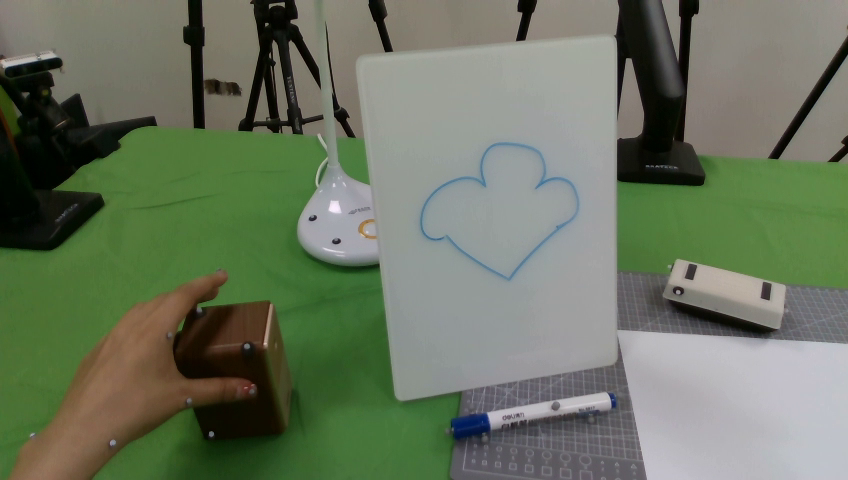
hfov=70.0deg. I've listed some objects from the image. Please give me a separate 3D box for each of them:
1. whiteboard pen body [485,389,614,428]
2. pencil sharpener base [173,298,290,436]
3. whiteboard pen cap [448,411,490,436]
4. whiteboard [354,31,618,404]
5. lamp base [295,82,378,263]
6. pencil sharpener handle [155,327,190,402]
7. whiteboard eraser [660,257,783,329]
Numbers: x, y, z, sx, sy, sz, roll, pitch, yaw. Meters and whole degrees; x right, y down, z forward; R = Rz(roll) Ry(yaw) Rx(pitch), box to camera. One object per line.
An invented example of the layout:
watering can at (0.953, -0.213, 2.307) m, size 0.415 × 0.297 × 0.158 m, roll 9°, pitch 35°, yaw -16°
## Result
whiteboard pen body at (0.096, 0.147, 0.523) m, size 0.141 × 0.017 × 0.017 m, roll -8°, pitch 36°, yaw -8°
pencil sharpener base at (-0.161, 0.109, 0.516) m, size 0.077 × 0.108 × 0.060 m, roll -5°, pitch 36°, yaw -5°
whiteboard pen cap at (0.038, 0.156, 0.514) m, size 0.033 × 0.018 × 0.018 m, roll -9°, pitch 36°, yaw -8°
whiteboard at (0.055, -0.029, 0.586) m, size 0.217 × 0.307 × 0.143 m, roll -8°, pitch 16°, yaw -8°
lamp base at (-0.093, -0.090, 0.735) m, size 0.161 × 0.182 × 0.177 m, roll -26°, pitch 39°, yaw -30°
pencil sharpener handle at (-0.212, 0.105, 0.501) m, size 0.031 × 0.068 × 0.035 m, roll -5°, pitch 24°, yaw -5°
whiteboard eraser at (0.310, 0.056, 0.633) m, size 0.112 × 0.042 × 0.055 m, roll 16°, pitch 40°, yaw 23°
